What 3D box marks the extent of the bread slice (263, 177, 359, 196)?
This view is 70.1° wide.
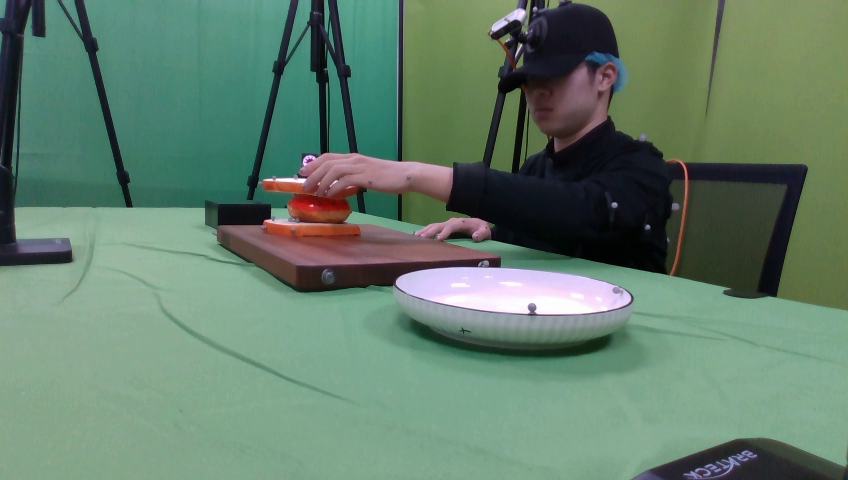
[{"bbox_3d":[-0.177,-0.083,0.929,0.134,0.018,0.107,4,9,6],"label":"bread slice"}]

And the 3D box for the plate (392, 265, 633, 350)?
[{"bbox_3d":[0.075,0.057,0.533,0.209,0.038,0.209,3,7,0],"label":"plate"}]

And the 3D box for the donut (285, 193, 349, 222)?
[{"bbox_3d":[-0.165,-0.051,0.936,0.099,0.048,0.099,4,8,0],"label":"donut"}]

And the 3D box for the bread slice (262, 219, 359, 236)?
[{"bbox_3d":[-0.179,-0.020,0.931,0.132,0.019,0.104,0,6,-35],"label":"bread slice"}]
